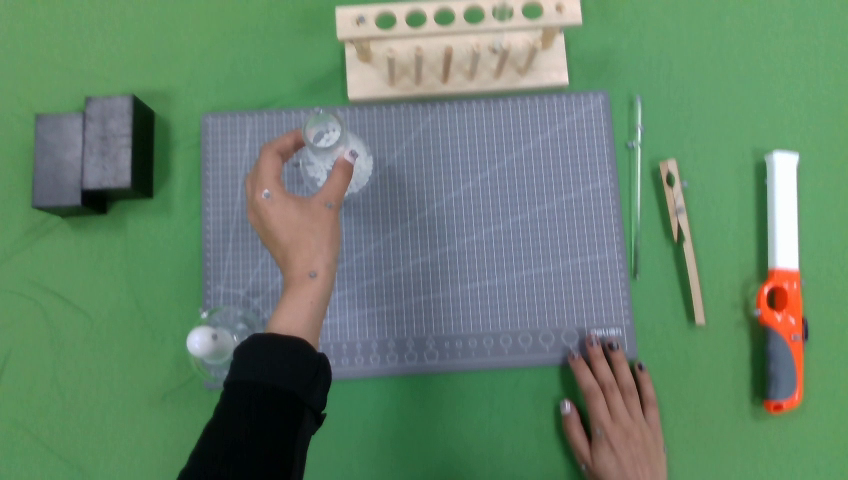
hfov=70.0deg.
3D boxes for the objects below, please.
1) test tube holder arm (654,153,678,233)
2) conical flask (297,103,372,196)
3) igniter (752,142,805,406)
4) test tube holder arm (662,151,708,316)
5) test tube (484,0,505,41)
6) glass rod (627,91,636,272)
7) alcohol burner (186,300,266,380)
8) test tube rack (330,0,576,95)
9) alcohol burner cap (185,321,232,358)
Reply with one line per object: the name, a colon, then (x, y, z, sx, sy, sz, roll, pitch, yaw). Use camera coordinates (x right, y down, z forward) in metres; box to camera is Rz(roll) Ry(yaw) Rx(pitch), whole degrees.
test tube holder arm: (0.263, -0.050, 0.651, 0.010, 0.015, 0.087, -15, 81, 35)
conical flask: (-0.088, -0.088, 0.561, 0.075, 0.122, 0.075, 0, 83, -3)
igniter: (0.371, 0.033, 0.635, 0.057, 0.025, 0.275, 5, 82, -9)
test tube holder arm: (0.276, -0.008, 0.642, 0.013, 0.015, 0.178, -17, 81, 34)
test tube: (0.072, -0.240, 0.591, 0.017, 0.151, 0.017, 0, 76, 1)
glass rod: (0.225, -0.065, 0.656, 0.008, 0.008, 0.199, 3, 85, 0)
alcohol burner: (-0.194, 0.095, 0.578, 0.078, 0.119, 0.077, 0, 81, 2)
test tube rack: (0.030, -0.209, 0.637, 0.242, 0.085, 0.066, -5, 82, -1)
alcohol burner cap: (-0.195, 0.087, 0.542, 0.034, 0.048, 0.033, 0, 73, 1)
